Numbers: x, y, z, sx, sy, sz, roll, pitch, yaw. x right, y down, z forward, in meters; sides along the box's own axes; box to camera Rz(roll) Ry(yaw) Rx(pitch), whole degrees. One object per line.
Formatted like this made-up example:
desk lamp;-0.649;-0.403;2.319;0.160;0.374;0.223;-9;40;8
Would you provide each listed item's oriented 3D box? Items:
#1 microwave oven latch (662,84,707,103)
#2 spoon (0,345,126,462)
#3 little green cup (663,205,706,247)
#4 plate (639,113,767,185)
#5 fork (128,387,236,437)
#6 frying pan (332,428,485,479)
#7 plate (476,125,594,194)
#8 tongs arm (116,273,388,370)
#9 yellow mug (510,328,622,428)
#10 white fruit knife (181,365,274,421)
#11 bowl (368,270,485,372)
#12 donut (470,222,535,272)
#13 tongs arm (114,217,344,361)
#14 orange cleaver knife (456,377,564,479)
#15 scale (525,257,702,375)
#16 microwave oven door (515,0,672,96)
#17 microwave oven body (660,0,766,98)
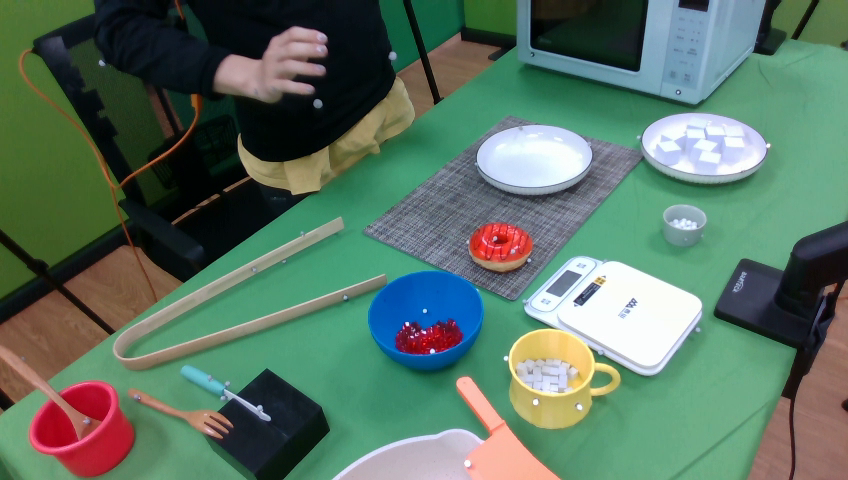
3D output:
microwave oven latch;0.517;-0.296;1.204;0.078;0.029;0.030;27;52;35
spoon;-0.434;0.192;0.720;0.194;0.021;0.042;47;53;-7
little green cup;0.396;-0.020;0.926;0.061;0.039;0.061;-4;40;4
plate;0.489;-0.157;1.074;0.207;0.039;0.206;-4;40;4
fork;-0.305;0.208;0.744;0.206;0.019;0.028;3;42;36
frying pan;-0.089;0.306;0.564;0.487;0.103;0.306;10;41;7
plate;0.199;-0.142;1.093;0.209;0.038;0.208;-4;40;4
tongs arm;-0.236;0.114;0.870;0.389;0.028;0.028;-18;49;-13
yellow mug;0.169;0.164;0.722;0.130;0.064;0.099;0;40;8
white fruit knife;-0.245;0.187;0.747;0.205;0.027;0.016;9;41;40
bowl;0.007;0.118;0.791;0.151;0.077;0.150;-4;40;4
donut;0.119;0.009;0.923;0.099;0.048;0.098;-4;38;3
tongs arm;-0.280;0.067;0.927;0.386;0.026;0.050;-29;49;-23
orange cleaver knife;0.081;0.220;0.611;0.077;0.012;0.209;-26;43;-22
scale;0.254;0.091;0.821;0.199;0.032;0.149;28;51;35
microwave oven door;0.343;-0.454;1.259;0.353;0.245;0.039;26;51;33
microwave oven body;0.472;-0.513;1.317;0.438;0.261;0.327;26;51;34
